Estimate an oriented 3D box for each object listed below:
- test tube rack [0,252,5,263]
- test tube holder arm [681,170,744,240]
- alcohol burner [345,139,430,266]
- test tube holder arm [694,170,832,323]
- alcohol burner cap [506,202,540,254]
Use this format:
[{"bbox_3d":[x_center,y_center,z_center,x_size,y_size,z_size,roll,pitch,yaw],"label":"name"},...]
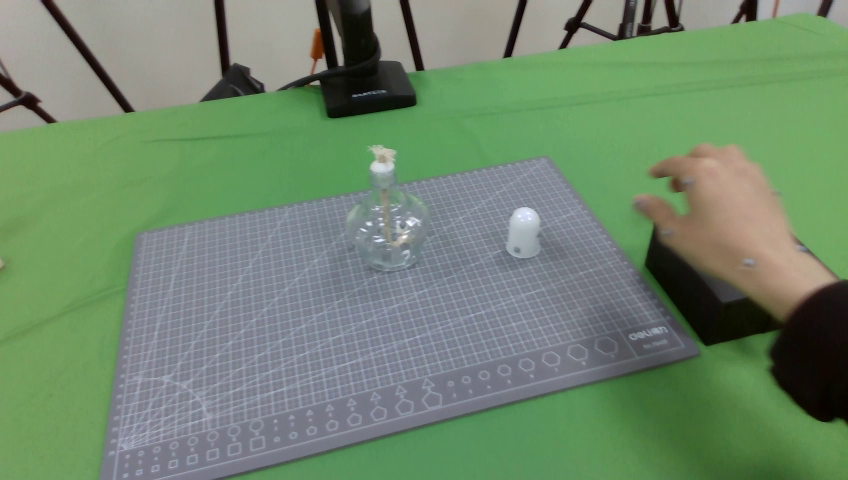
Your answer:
[{"bbox_3d":[-0.482,0.057,0.490,0.066,0.086,0.241,12,44,16],"label":"test tube rack"},{"bbox_3d":[0.248,-0.031,0.520,0.010,0.015,0.087,-4,41,-14],"label":"test tube holder arm"},{"bbox_3d":[-0.034,-0.036,0.541,0.078,0.120,0.077,-2,40,2],"label":"alcohol burner"},{"bbox_3d":[0.264,-0.003,0.488,0.013,0.015,0.176,-4,41,-14],"label":"test tube holder arm"},{"bbox_3d":[0.093,-0.013,0.562,0.034,0.048,0.033,-2,41,2],"label":"alcohol burner cap"}]
